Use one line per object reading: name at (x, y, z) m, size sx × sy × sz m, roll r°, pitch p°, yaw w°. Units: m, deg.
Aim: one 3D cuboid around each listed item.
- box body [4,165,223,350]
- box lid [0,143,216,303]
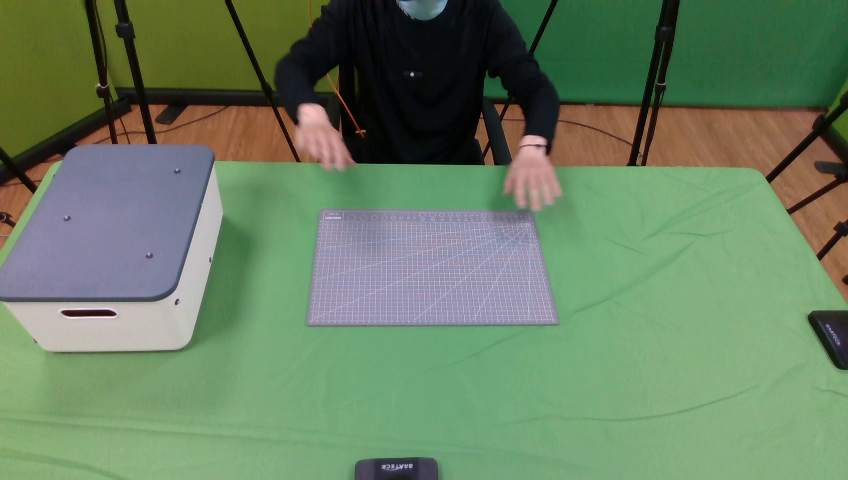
box body at (-0.510, 0.008, 1.054) m, size 0.254 × 0.161 × 0.361 m, roll -1°, pitch 46°, yaw -5°
box lid at (-0.506, -0.045, 1.002) m, size 0.263 × 0.015 × 0.369 m, roll 0°, pitch 46°, yaw -5°
